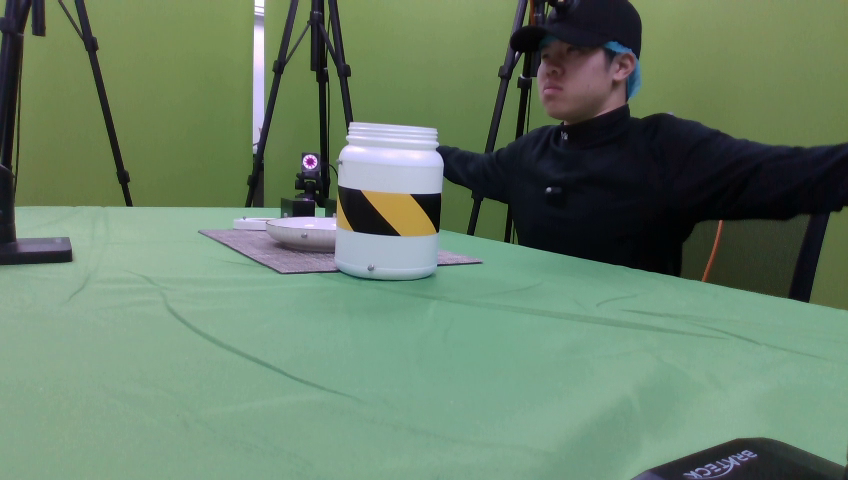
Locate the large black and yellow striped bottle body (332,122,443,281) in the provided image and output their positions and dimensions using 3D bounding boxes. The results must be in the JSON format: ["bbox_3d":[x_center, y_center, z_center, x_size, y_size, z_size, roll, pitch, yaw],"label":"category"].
[{"bbox_3d":[-0.045,-0.051,0.755,0.131,0.184,0.130,4,10,0],"label":"large black and yellow striped bottle body"}]

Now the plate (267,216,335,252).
[{"bbox_3d":[-0.144,-0.010,0.967,0.208,0.039,0.207,2,7,0],"label":"plate"}]

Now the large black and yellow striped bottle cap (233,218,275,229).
[{"bbox_3d":[-0.311,-0.032,1.172,0.115,0.019,0.115,1,4,0],"label":"large black and yellow striped bottle cap"}]
